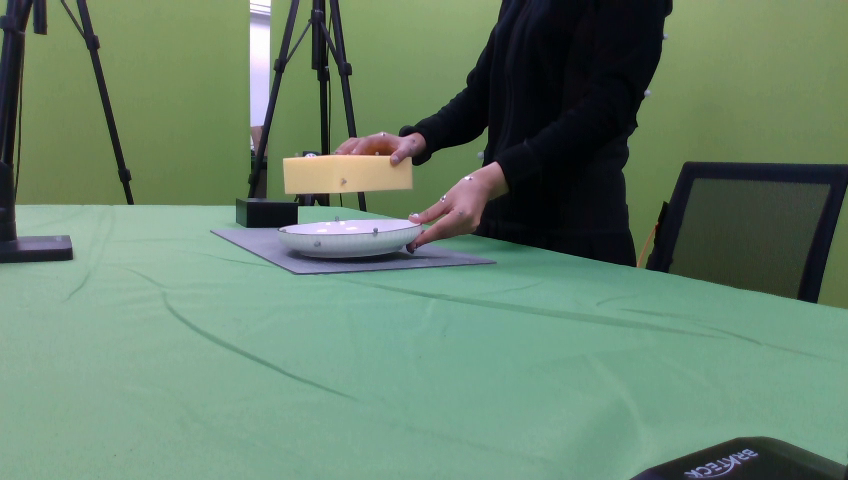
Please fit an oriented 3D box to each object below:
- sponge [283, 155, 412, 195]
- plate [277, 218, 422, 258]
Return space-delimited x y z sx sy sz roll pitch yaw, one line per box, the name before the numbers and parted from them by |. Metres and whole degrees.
sponge | -0.129 -0.115 1.054 0.117 0.061 0.208 2 8 35
plate | -0.105 -0.003 0.873 0.209 0.038 0.209 -2 7 1
